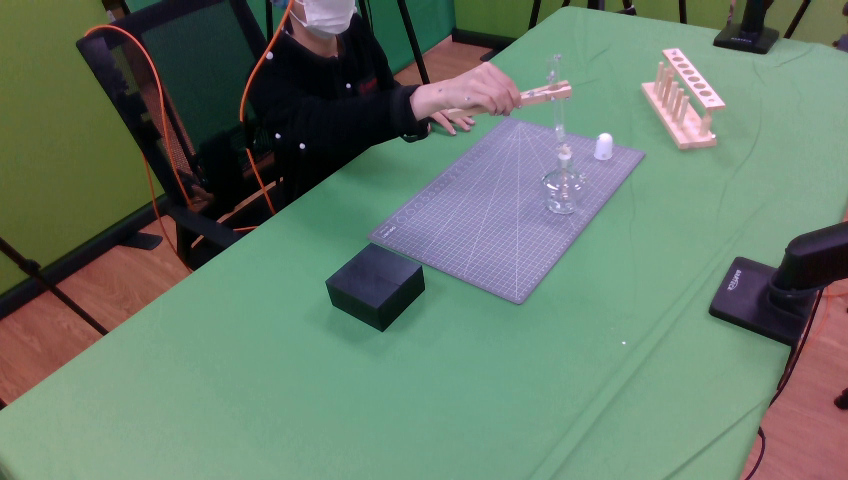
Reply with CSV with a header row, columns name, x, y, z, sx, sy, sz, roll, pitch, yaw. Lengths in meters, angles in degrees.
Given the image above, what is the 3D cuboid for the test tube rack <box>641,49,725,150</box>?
name,x,y,z,sx,sy,sz,roll,pitch,yaw
test tube rack,0.495,-0.279,1.175,0.067,0.085,0.241,-5,41,3

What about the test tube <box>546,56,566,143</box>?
name,x,y,z,sx,sy,sz,roll,pitch,yaw
test tube,0.195,-0.203,0.890,0.017,0.151,0.017,-10,47,11

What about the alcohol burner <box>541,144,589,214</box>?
name,x,y,z,sx,sy,sz,roll,pitch,yaw
alcohol burner,0.229,-0.102,0.983,0.078,0.119,0.077,-6,41,5

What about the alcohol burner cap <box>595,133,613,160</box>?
name,x,y,z,sx,sy,sz,roll,pitch,yaw
alcohol burner cap,0.330,-0.172,1.104,0.034,0.048,0.033,-5,41,5

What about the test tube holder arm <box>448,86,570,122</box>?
name,x,y,z,sx,sy,sz,roll,pitch,yaw
test tube holder arm,0.123,-0.197,0.877,0.178,0.015,0.013,-12,40,3

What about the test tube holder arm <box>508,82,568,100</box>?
name,x,y,z,sx,sy,sz,roll,pitch,yaw
test tube holder arm,0.166,-0.212,0.881,0.088,0.015,0.010,-16,41,-2
